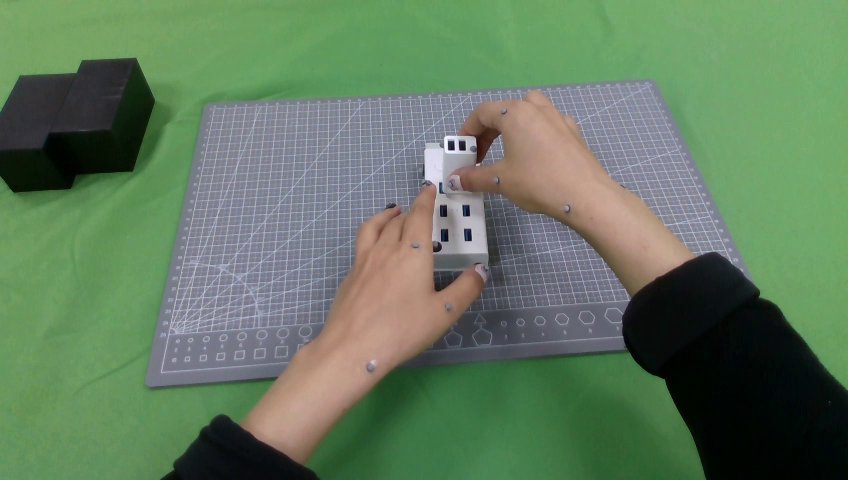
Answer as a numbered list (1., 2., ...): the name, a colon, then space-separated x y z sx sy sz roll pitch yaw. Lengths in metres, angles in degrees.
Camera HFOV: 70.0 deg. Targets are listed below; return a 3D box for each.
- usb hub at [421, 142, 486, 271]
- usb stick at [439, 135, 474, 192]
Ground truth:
1. usb hub: 0.022 -0.031 0.502 0.049 0.025 0.124 0 52 0
2. usb stick: 0.026 -0.055 0.483 0.027 0.060 0.021 -4 52 1
